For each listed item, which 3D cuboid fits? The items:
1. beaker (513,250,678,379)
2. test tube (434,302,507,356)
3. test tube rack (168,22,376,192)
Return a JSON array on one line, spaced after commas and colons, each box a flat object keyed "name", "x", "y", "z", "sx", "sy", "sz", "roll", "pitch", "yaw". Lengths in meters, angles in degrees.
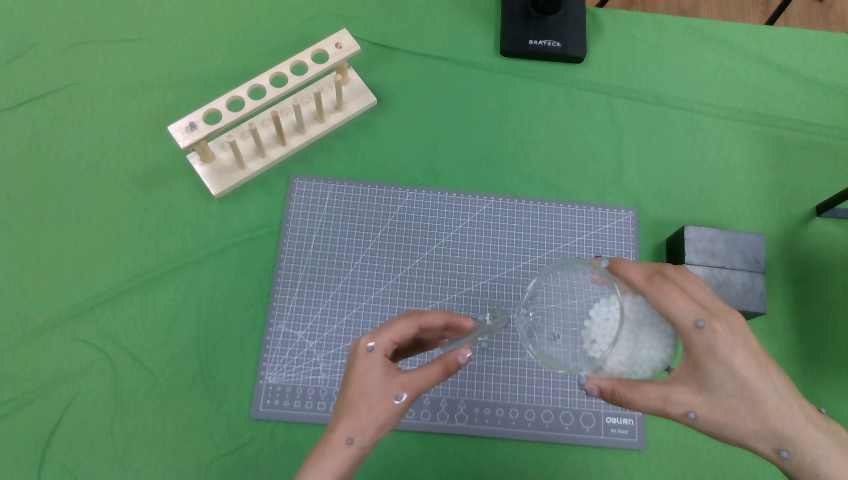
[{"name": "beaker", "x": 0.120, "y": 0.056, "z": 0.415, "sx": 0.101, "sy": 0.083, "sz": 0.073, "roll": 21, "pitch": 70, "yaw": -44}, {"name": "test tube", "x": 0.033, "y": 0.075, "z": 0.489, "sx": 0.017, "sy": 0.150, "sz": 0.017, "roll": 5, "pitch": 69, "yaw": -13}, {"name": "test tube rack", "x": -0.177, "y": -0.163, "z": 0.746, "sx": 0.242, "sy": 0.085, "sz": 0.066, "roll": -34, "pitch": 77, "yaw": -13}]
